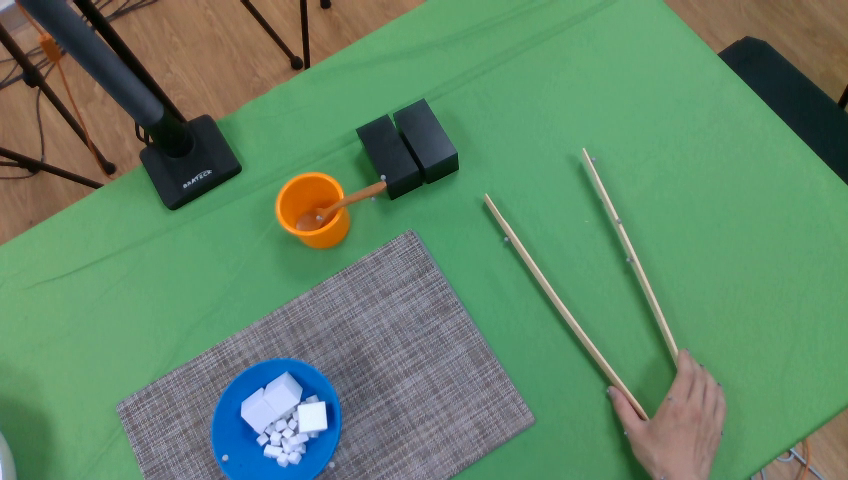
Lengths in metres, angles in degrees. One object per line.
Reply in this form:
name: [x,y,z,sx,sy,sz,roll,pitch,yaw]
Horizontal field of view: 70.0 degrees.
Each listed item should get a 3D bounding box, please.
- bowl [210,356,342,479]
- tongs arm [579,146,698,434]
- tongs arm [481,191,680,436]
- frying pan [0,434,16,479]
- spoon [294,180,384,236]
bowl: [-0.165,0.220,0.723,0.151,0.077,0.150,-1,70,4]
tongs arm: [0.258,0.051,0.774,0.051,0.027,0.382,-20,71,-1]
tongs arm: [0.185,0.086,0.773,0.028,0.028,0.384,-32,71,-8]
frying pan: [-0.556,0.387,0.688,0.484,0.103,0.306,38,78,24]
spoon: [-0.114,-0.043,0.779,0.022,0.193,0.041,20,64,-34]
